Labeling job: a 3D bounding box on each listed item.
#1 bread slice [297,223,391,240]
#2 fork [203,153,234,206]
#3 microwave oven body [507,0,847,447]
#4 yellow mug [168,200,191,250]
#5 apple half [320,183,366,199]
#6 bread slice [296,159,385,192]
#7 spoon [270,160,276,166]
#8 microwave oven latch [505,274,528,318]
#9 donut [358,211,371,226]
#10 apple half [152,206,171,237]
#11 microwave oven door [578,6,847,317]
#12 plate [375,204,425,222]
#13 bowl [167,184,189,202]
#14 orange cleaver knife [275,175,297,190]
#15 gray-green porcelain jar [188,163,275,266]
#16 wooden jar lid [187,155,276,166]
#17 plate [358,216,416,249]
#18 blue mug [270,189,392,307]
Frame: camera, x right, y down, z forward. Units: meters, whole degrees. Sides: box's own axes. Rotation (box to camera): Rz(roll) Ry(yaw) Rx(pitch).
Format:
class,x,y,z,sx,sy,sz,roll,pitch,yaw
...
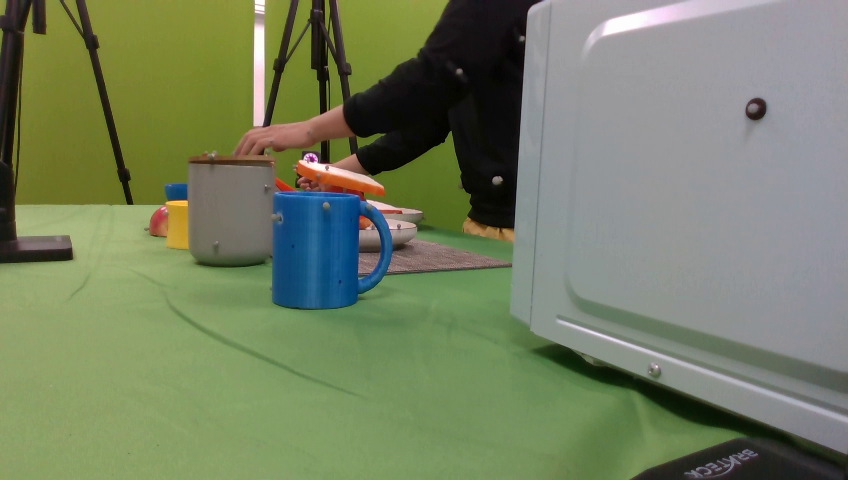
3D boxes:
class,x,y,z,sx,sy,sz,roll,pitch,yaw
bread slice,-0.121,-0.015,0.970,0.106,0.018,0.135,9,8,41
fork,-0.480,-0.136,1.412,0.028,0.018,0.207,0,-34,-1
microwave oven body,0.331,-0.042,0.425,0.444,0.260,0.324,-2,8,-31
yellow mug,-0.320,-0.023,0.904,0.130,0.064,0.100,8,10,36
apple half,-0.129,-0.076,0.949,0.081,0.033,0.081,2,14,0
bread slice,-0.134,-0.103,0.950,0.132,0.019,0.104,10,12,-25
spoon,-0.396,-0.150,1.548,0.042,0.193,0.021,3,-37,-4
microwave oven latch,0.100,0.041,0.471,0.079,0.029,0.030,-2,8,-29
donut,-0.130,-0.042,0.957,0.099,0.048,0.099,1,7,0
apple half,-0.415,-0.034,1.017,0.081,0.053,0.074,1,10,-8
microwave oven door,0.294,-0.067,0.570,0.358,0.243,0.039,-3,9,-31
plate,-0.102,-0.053,1.299,0.209,0.038,0.209,2,8,0
bowl,-0.408,-0.064,1.154,0.151,0.077,0.151,2,8,0
orange cleaver knife,-0.283,-0.087,1.344,0.012,0.077,0.212,-1,-18,46
gray-green porcelain jar,-0.246,-0.034,0.780,0.106,0.126,0.106,2,7,0
wooden jar lid,-0.244,-0.097,0.771,0.108,0.020,0.108,-1,7,0
plate,-0.116,-0.014,0.967,0.208,0.039,0.207,2,7,0
blue mug,-0.089,0.005,0.588,0.117,0.106,0.082,1,7,-10
